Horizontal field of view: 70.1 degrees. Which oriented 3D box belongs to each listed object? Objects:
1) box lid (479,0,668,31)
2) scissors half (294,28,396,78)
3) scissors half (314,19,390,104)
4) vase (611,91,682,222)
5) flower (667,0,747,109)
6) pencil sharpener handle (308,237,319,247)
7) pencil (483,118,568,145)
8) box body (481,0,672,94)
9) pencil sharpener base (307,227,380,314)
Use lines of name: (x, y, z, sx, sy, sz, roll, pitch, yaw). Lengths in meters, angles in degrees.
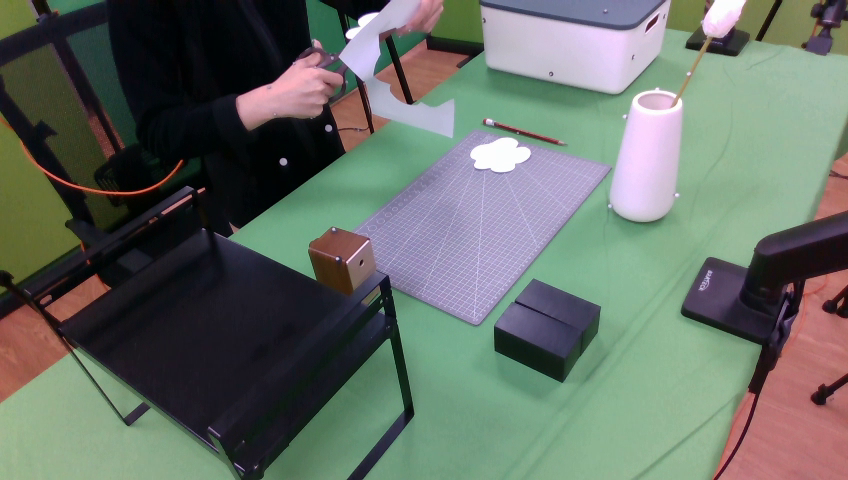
box lid: (0.335, -0.536, 1.331, 0.368, 0.015, 0.264, 23, 49, 30)
scissors half: (-0.124, -0.296, 0.941, 0.175, 0.040, 0.013, -17, 27, 11)
scissors half: (-0.111, -0.279, 0.948, 0.040, 0.175, 0.013, 39, 22, -13)
vase: (0.348, -0.125, 0.935, 0.098, 0.201, 0.097, -3, 40, 3)
flower: (0.354, -0.187, 0.879, 0.038, 0.362, 0.044, 30, 48, 14)
pencil sharpener handle: (-0.159, 0.017, 0.892, 0.030, 0.068, 0.036, 18, 61, 28)
pencil: (0.201, -0.217, 1.212, 0.192, 0.012, 0.012, 24, 49, 29)
box body: (0.341, -0.480, 1.381, 0.361, 0.161, 0.255, 22, 48, 30)
pencil sharpener base: (-0.116, 0.043, 0.875, 0.076, 0.107, 0.061, 18, 47, 27)
